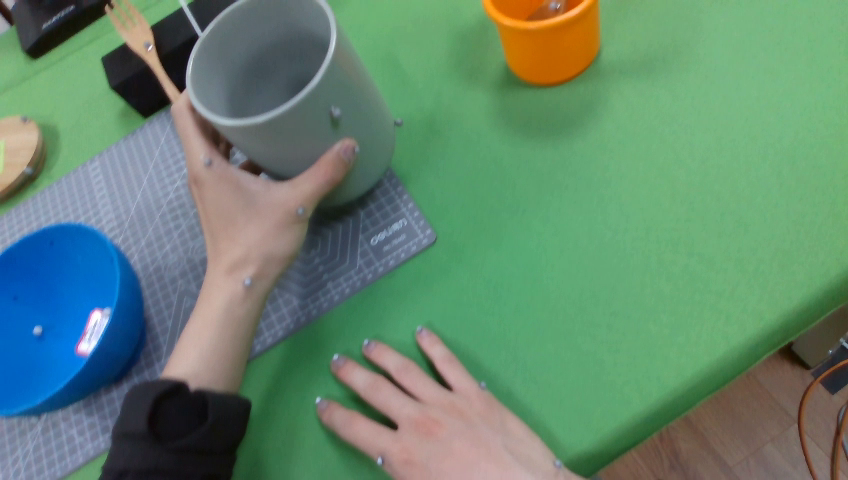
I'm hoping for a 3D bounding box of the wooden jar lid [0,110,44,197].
[{"bbox_3d":[-0.444,-0.087,0.634,0.108,0.021,0.107,-6,63,13],"label":"wooden jar lid"}]

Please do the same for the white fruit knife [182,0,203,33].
[{"bbox_3d":[-0.197,-0.177,0.564,0.016,0.027,0.206,-33,73,-2],"label":"white fruit knife"}]

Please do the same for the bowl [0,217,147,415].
[{"bbox_3d":[-0.272,0.065,0.468,0.151,0.077,0.150,-7,63,15],"label":"bowl"}]

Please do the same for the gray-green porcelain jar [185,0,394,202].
[{"bbox_3d":[-0.085,-0.093,0.430,0.105,0.127,0.105,-7,66,15],"label":"gray-green porcelain jar"}]

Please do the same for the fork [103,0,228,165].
[{"bbox_3d":[-0.239,-0.152,0.563,0.028,0.019,0.206,-34,78,-6],"label":"fork"}]

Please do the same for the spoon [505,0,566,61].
[{"bbox_3d":[0.119,-0.212,0.443,0.022,0.194,0.041,-2,54,-34],"label":"spoon"}]
